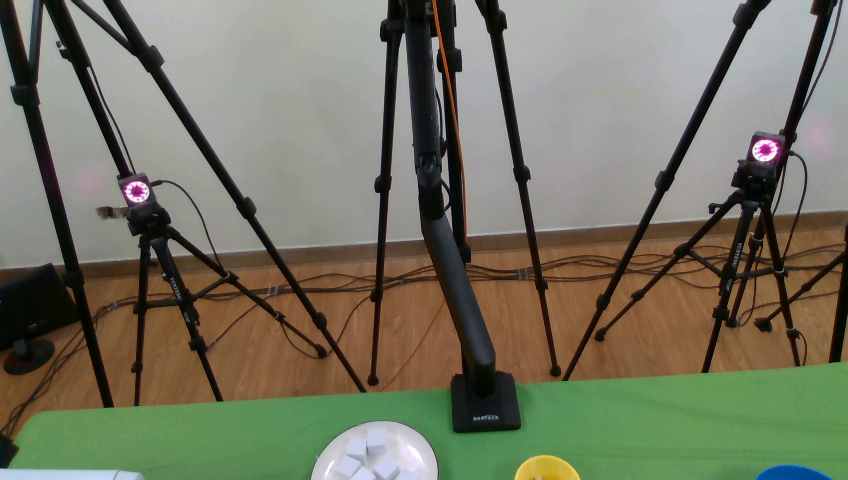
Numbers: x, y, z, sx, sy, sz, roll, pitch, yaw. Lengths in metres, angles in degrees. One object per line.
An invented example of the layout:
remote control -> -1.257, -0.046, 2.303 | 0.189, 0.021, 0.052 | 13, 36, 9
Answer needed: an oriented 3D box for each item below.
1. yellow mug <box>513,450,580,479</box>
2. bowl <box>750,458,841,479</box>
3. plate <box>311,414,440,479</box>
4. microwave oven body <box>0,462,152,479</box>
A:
yellow mug -> 0.194, 0.391, 0.918 | 0.100, 0.064, 0.129 | -22, 42, -20
bowl -> 0.532, 0.398, 0.858 | 0.151, 0.077, 0.150 | -3, 39, 3
plate -> -0.076, 0.381, 0.986 | 0.207, 0.039, 0.205 | -3, 38, 3
microwave oven body -> -0.517, 0.512, 0.684 | 0.326, 0.262, 0.437 | -1, 39, 5
